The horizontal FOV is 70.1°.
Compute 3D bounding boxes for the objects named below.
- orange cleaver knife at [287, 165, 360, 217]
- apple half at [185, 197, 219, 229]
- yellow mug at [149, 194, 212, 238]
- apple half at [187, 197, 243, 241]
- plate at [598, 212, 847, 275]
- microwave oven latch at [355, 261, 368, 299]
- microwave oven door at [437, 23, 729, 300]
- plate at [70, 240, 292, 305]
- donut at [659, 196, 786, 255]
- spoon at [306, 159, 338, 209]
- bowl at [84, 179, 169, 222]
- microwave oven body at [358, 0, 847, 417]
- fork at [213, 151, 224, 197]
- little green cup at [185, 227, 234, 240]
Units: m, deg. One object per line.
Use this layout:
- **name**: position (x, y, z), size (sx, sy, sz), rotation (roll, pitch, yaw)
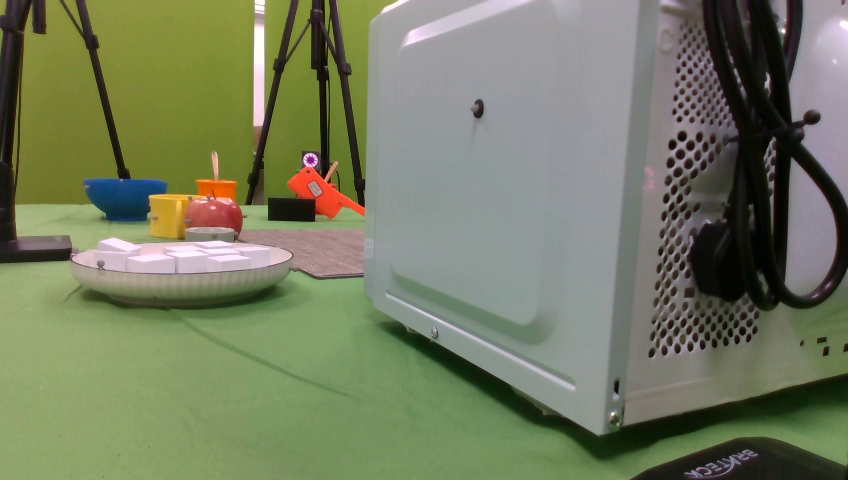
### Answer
- **orange cleaver knife**: position (-0.210, -0.092, 1.382), size (0.212, 0.077, 0.012), rotation (34, 2, -15)
- **apple half**: position (-0.338, -0.031, 0.926), size (0.032, 0.081, 0.081), rotation (13, 12, 32)
- **yellow mug**: position (-0.401, -0.039, 1.002), size (0.100, 0.064, 0.130), rotation (0, 9, -20)
- **apple half**: position (-0.305, -0.026, 0.906), size (0.053, 0.074, 0.081), rotation (13, 8, 32)
- **plate**: position (0.255, 0.000, 0.518), size (0.209, 0.038, 0.209), rotation (2, 6, 0)
- **microwave oven latch**: position (-0.020, 0.034, 0.525), size (0.079, 0.029, 0.030), rotation (1, 7, -18)
- **microwave oven door**: position (0.181, -0.072, 0.620), size (0.358, 0.243, 0.039), rotation (-2, 8, -28)
- **plate**: position (-0.241, 0.031, 0.617), size (0.208, 0.039, 0.207), rotation (2, 8, 0)
- **donut**: position (0.252, -0.012, 0.517), size (0.099, 0.048, 0.099), rotation (3, 8, 0)
- **spoon**: position (-0.257, -0.147, 1.566), size (0.041, 0.022, 0.193), rotation (2, 51, 19)
- **bowl**: position (-0.584, -0.078, 1.193), size (0.151, 0.077, 0.151), rotation (3, 8, 0)
- **microwave oven body**: position (0.211, -0.047, 0.474), size (0.444, 0.260, 0.324), rotation (-1, 8, -28)
- **fork**: position (-0.493, -0.143, 1.441), size (0.028, 0.018, 0.206), rotation (-3, 52, -19)
- **little green cup**: position (-0.284, 0.005, 0.804), size (0.061, 0.038, 0.061), rotation (2, 8, 0)
